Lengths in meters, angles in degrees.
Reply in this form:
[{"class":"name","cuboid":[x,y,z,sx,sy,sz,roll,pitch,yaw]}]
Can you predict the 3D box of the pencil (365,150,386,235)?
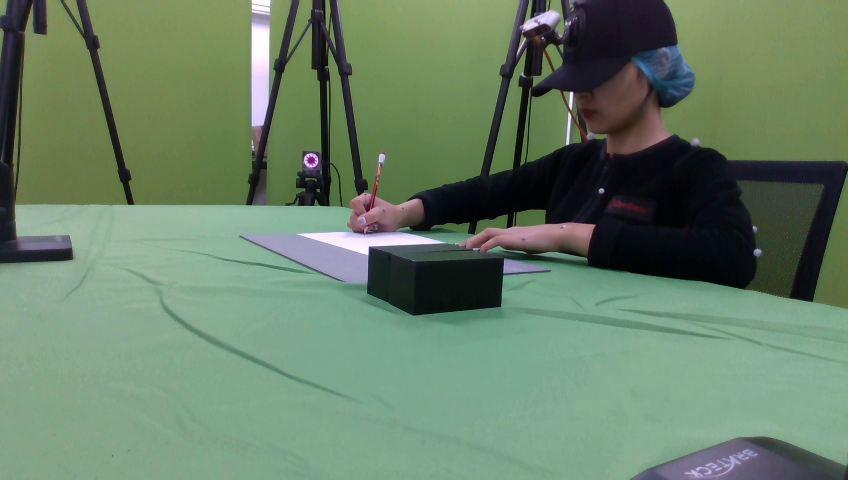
[{"class":"pencil","cuboid":[-0.092,-0.092,1.140,0.012,0.193,0.012,7,-30,4]}]
